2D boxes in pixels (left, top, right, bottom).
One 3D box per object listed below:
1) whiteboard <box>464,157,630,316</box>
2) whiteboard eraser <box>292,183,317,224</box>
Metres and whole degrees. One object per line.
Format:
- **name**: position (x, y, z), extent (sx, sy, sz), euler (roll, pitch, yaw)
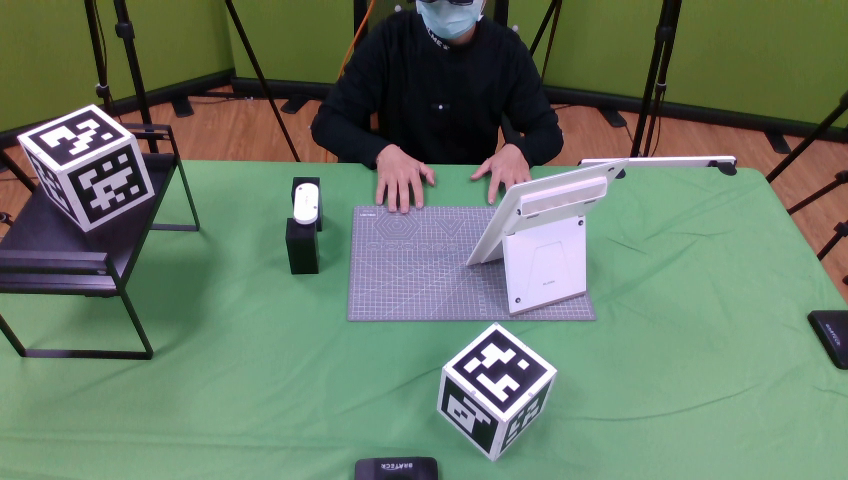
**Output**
- **whiteboard**: position (0.224, 0.015, 1.043), extent (0.217, 0.306, 0.143), euler (-14, 68, -17)
- **whiteboard eraser**: position (-0.217, -0.068, 1.108), extent (0.041, 0.019, 0.100), euler (-2, 46, -4)
